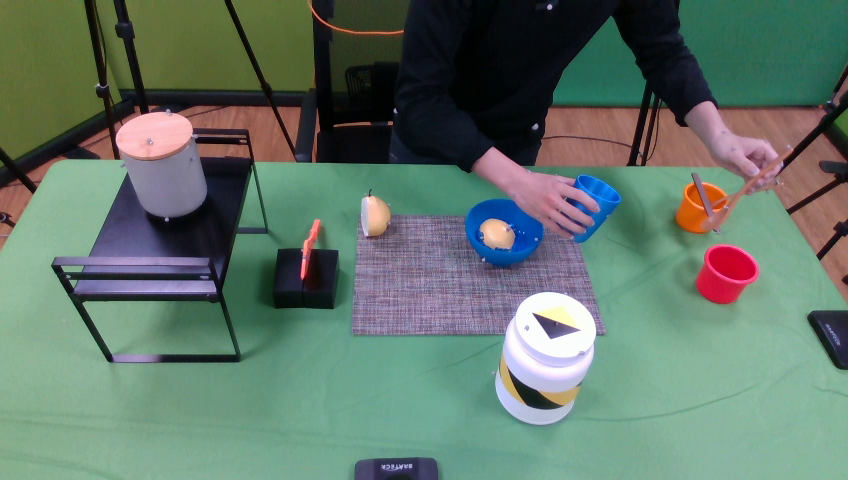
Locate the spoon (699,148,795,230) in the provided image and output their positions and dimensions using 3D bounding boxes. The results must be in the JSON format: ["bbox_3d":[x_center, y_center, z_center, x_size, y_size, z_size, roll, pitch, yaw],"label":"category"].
[{"bbox_3d":[0.548,-0.084,1.033,0.021,0.194,0.041,33,32,-3],"label":"spoon"}]

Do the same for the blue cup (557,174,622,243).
[{"bbox_3d":[0.284,-0.051,1.068,0.093,0.100,0.092,18,32,-11],"label":"blue cup"}]

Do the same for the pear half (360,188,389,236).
[{"bbox_3d":[-0.096,-0.060,1.181,0.056,0.110,0.076,-13,52,-17],"label":"pear half"}]

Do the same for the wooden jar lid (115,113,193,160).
[{"bbox_3d":[-0.399,-0.151,0.900,0.108,0.021,0.107,3,46,-3],"label":"wooden jar lid"}]

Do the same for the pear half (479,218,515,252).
[{"bbox_3d":[0.145,-0.013,1.167,0.070,0.031,0.087,-21,56,-19],"label":"pear half"}]

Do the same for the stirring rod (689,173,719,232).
[{"bbox_3d":[0.565,-0.079,1.225,0.014,0.006,0.175,2,45,2],"label":"stirring rod"}]

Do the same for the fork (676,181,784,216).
[{"bbox_3d":[0.618,-0.083,1.235,0.019,0.207,0.028,55,40,-15],"label":"fork"}]

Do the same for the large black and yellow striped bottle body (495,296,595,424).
[{"bbox_3d":[0.183,0.182,0.923,0.131,0.185,0.130,2,46,-2],"label":"large black and yellow striped bottle body"}]

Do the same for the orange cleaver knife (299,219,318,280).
[{"bbox_3d":[-0.214,0.013,1.126,0.012,0.077,0.210,6,17,-5],"label":"orange cleaver knife"}]

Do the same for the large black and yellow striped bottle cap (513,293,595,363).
[{"bbox_3d":[0.186,0.123,0.863,0.115,0.019,0.114,3,45,-3],"label":"large black and yellow striped bottle cap"}]

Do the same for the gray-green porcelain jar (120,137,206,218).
[{"bbox_3d":[-0.403,-0.106,0.946,0.106,0.127,0.105,3,46,-2],"label":"gray-green porcelain jar"}]

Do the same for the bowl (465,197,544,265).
[{"bbox_3d":[0.149,-0.004,1.167,0.151,0.077,0.150,3,46,-3],"label":"bowl"}]
